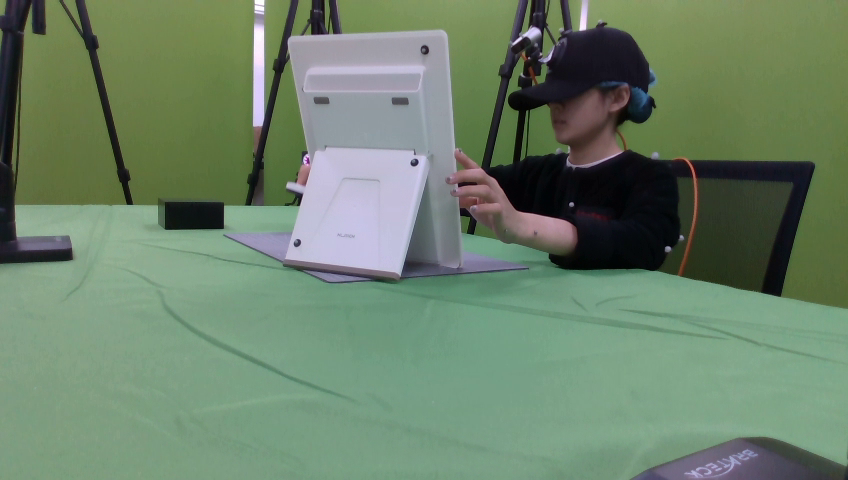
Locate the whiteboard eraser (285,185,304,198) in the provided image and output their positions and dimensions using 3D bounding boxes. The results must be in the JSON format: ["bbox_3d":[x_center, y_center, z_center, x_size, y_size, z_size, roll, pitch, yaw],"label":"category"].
[{"bbox_3d":[-0.217,-0.083,1.145,0.102,0.019,0.041,20,-2,-40],"label":"whiteboard eraser"}]

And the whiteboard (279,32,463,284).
[{"bbox_3d":[-0.087,-0.080,0.728,0.216,0.305,0.144,7,28,24],"label":"whiteboard"}]
